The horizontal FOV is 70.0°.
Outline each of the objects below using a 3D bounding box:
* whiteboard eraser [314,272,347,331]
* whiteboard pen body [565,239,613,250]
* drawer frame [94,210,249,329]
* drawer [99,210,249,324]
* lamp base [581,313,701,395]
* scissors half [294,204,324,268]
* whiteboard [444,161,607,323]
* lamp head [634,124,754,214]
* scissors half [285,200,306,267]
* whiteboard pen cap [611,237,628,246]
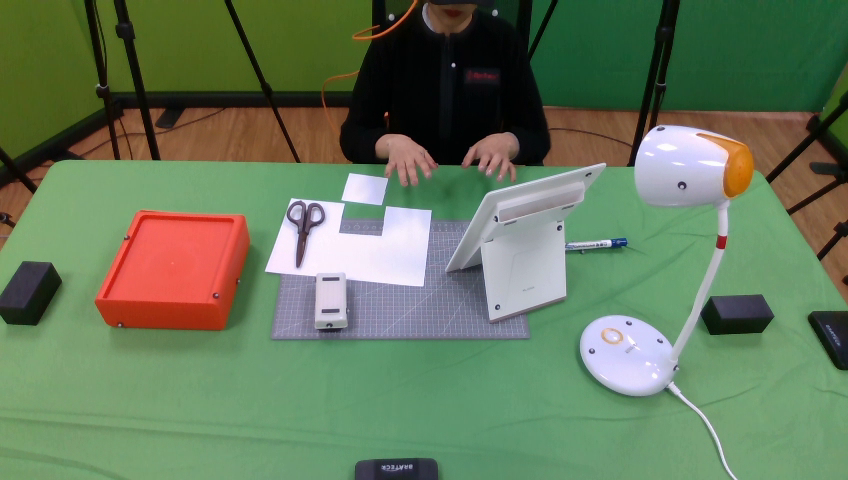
[{"bbox_3d":[-0.165,0.107,1.063,0.055,0.042,0.112,-4,47,-5],"label":"whiteboard eraser"},{"bbox_3d":[0.331,0.008,1.211,0.141,0.017,0.017,-5,47,-4],"label":"whiteboard pen body"},{"bbox_3d":[-0.434,0.048,1.076,0.202,0.083,0.212,2,47,-3],"label":"drawer frame"},{"bbox_3d":[-0.435,0.044,1.081,0.194,0.073,0.210,3,47,-2],"label":"drawer"},{"bbox_3d":[0.361,0.144,0.972,0.178,0.181,0.160,34,53,23],"label":"lamp base"},{"bbox_3d":[-0.231,-0.010,1.197,0.040,0.013,0.174,20,45,-7],"label":"scissors half"},{"bbox_3d":[0.186,0.025,1.029,0.217,0.306,0.143,-14,68,-18],"label":"whiteboard"},{"bbox_3d":[0.351,-0.089,0.775,0.112,0.113,0.122,-30,30,-28],"label":"lamp head"},{"bbox_3d":[-0.251,-0.014,1.192,0.040,0.013,0.174,2,49,-17],"label":"scissors half"},{"bbox_3d":[0.390,0.004,1.215,0.033,0.018,0.018,-7,47,-2],"label":"whiteboard pen cap"}]
